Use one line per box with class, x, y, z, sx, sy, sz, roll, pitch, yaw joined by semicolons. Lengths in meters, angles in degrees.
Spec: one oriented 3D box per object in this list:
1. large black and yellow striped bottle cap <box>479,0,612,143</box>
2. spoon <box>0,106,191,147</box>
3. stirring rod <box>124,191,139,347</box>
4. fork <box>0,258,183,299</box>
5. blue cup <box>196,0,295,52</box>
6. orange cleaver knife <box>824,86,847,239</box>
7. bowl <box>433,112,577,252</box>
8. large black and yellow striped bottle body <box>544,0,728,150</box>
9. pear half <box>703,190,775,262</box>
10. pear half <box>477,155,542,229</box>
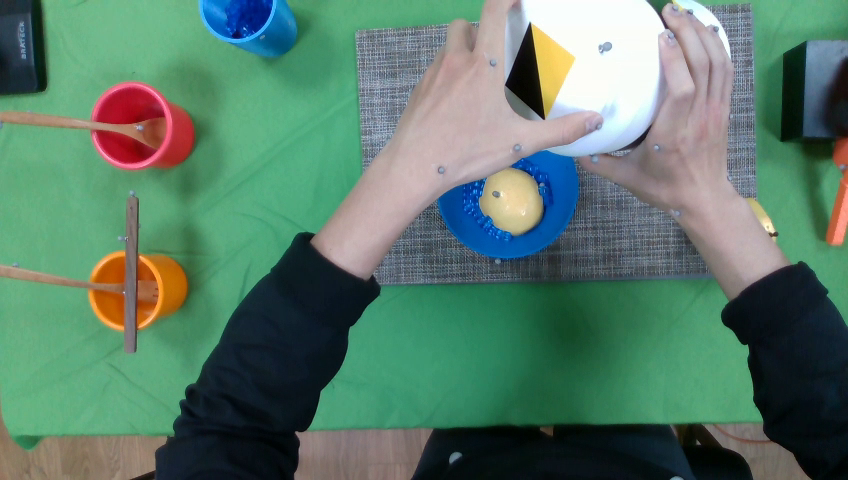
large black and yellow striped bottle cap;0.087;-0.131;0.456;0.114;0.019;0.115;18;115;46
spoon;-0.365;-0.133;0.679;0.195;0.021;0.041;1;96;-38
stirring rod;-0.328;0.033;0.679;0.014;0.006;0.176;3;94;2
fork;-0.380;0.043;0.685;0.209;0.018;0.028;14;105;-39
blue cup;-0.190;-0.254;0.678;0.092;0.100;0.092;0;92;8
orange cleaver knife;0.449;-0.103;0.640;0.012;0.076;0.213;0;121;10
bowl;0.088;-0.063;0.672;0.151;0.077;0.151;0;93;5
large black and yellow striped bottle body;0.153;-0.144;0.509;0.185;0.130;0.131;-13;92;-38
pear half;0.332;-0.012;0.638;0.056;0.110;0.076;-21;87;6
pear half;0.092;-0.056;0.666;0.070;0.031;0.088;-28;86;3
